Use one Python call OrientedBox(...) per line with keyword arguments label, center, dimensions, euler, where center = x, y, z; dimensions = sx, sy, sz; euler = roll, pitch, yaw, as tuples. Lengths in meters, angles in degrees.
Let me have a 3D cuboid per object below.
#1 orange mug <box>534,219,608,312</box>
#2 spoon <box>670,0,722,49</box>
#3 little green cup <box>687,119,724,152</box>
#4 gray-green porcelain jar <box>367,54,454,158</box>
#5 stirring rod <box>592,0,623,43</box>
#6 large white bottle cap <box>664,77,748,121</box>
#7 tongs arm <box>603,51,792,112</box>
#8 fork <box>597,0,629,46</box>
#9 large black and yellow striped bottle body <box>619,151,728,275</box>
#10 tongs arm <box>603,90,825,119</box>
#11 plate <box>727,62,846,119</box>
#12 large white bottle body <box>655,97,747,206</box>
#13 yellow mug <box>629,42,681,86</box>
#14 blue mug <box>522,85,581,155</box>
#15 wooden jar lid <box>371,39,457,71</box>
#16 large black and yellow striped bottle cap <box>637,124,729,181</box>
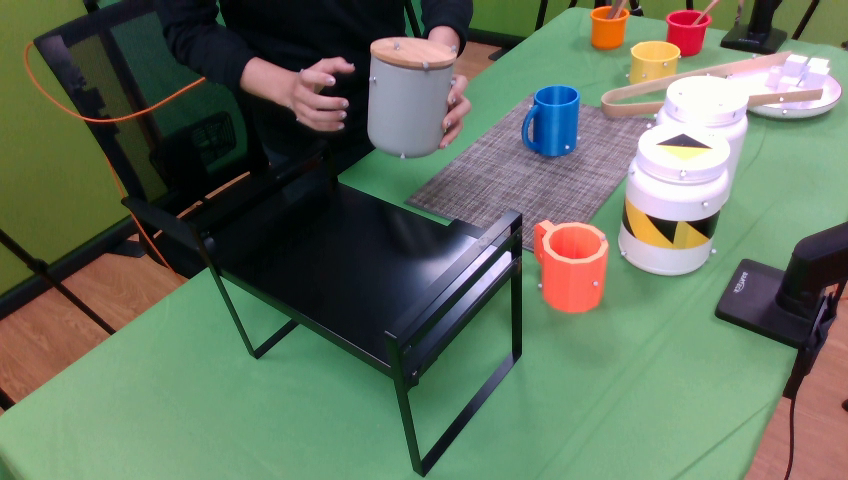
OrientedBox(label="orange mug", center=(0.200, 0.027, 0.858), dimensions=(0.084, 0.101, 0.125), euler=(-24, 47, -18))
OrientedBox(label="spoon", center=(0.639, -0.510, 1.380), dimensions=(0.193, 0.022, 0.041), euler=(-49, 40, 19))
OrientedBox(label="little green cup", center=(0.513, -0.191, 1.109), dimensions=(0.061, 0.039, 0.061), euler=(-5, 40, 5))
OrientedBox(label="gray-green porcelain jar", center=(-0.021, -0.180, 0.799), dimensions=(0.106, 0.127, 0.105), euler=(6, 35, -4))
OrientedBox(label="stirring rod", center=(0.460, -0.557, 1.462), dimensions=(0.014, 0.176, 0.006), euler=(36, 12, 23))
OrientedBox(label="large white bottle cap", center=(0.421, -0.212, 0.905), dimensions=(0.115, 0.018, 0.114), euler=(-4, 40, 4))
OrientedBox(label="tongs arm", center=(0.552, -0.320, 1.224), dimensions=(0.384, 0.027, 0.050), euler=(-11, 44, 7))
OrientedBox(label="fork", center=(0.479, -0.558, 1.455), dimensions=(0.028, 0.019, 0.207), euler=(35, 100, 38))
OrientedBox(label="large black and yellow striped bottle body", center=(0.354, -0.056, 0.865), dimensions=(0.131, 0.185, 0.130), euler=(-4, 41, 4))
OrientedBox(label="tongs arm", center=(0.546, -0.262, 1.163), dimensions=(0.386, 0.028, 0.028), euler=(-1, 49, 18))
OrientedBox(label="plate", center=(0.710, -0.292, 1.197), dimensions=(0.207, 0.039, 0.206), euler=(-4, 40, 4))
OrientedBox(label="large white bottle body", center=(0.431, -0.148, 0.959), dimensions=(0.130, 0.185, 0.130), euler=(-4, 41, 4))
OrientedBox(label="yellow mug", center=(0.495, -0.389, 1.321), dimensions=(0.100, 0.064, 0.130), euler=(-14, 40, -6))
OrientedBox(label="blue mug", center=(0.233, -0.218, 1.127), dimensions=(0.117, 0.106, 0.081), euler=(-23, 43, -16))
OrientedBox(label="wooden jar lid", center=(-0.013, -0.231, 0.763), dimensions=(0.108, 0.021, 0.108), euler=(6, 33, -3))
OrientedBox(label="large black and yellow striped bottle cap", center=(0.346, -0.119, 0.810), dimensions=(0.115, 0.019, 0.114), euler=(-5, 41, 5))
